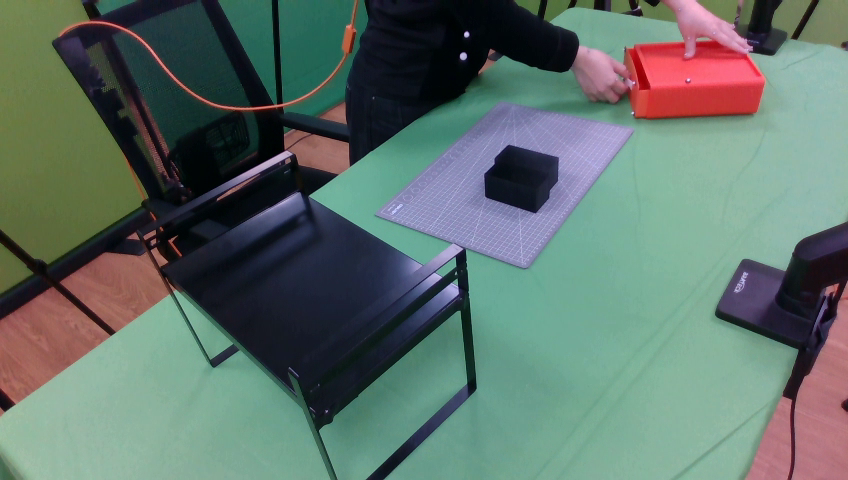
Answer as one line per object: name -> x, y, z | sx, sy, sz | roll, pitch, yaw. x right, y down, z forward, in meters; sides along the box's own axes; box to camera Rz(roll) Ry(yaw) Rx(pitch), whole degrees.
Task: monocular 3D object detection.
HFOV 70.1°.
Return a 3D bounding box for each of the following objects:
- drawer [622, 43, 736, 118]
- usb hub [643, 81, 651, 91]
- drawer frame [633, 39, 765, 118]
drawer -> 0.523, -0.330, 1.236 | 0.211, 0.073, 0.194 | 0, 41, 8
usb hub -> 0.483, -0.319, 1.252 | 0.049, 0.025, 0.125 | 10, 38, 20
drawer frame -> 0.544, -0.332, 1.233 | 0.213, 0.083, 0.201 | -1, 41, 7
